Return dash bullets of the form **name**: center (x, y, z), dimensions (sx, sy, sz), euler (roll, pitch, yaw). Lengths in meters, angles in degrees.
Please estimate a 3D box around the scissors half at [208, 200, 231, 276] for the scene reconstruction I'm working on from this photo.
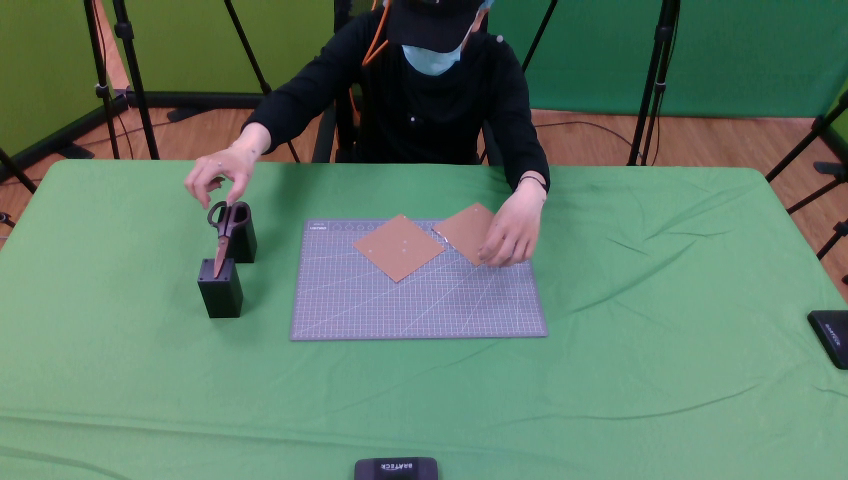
- **scissors half**: center (-0.352, -0.005, 1.043), dimensions (0.040, 0.013, 0.174), euler (-3, 48, -15)

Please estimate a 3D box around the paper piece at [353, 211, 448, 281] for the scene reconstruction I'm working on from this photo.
- **paper piece**: center (-0.047, 0.008, 1.188), dimensions (0.135, 0.004, 0.134), euler (-33, 57, -30)

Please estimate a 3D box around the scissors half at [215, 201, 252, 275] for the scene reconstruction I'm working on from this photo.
- **scissors half**: center (-0.332, -0.005, 1.046), dimensions (0.040, 0.013, 0.174), euler (6, 47, 0)

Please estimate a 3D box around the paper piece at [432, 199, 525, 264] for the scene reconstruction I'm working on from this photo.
- **paper piece**: center (0.111, -0.021, 1.227), dimensions (0.138, 0.009, 0.135), euler (-28, 58, -30)
